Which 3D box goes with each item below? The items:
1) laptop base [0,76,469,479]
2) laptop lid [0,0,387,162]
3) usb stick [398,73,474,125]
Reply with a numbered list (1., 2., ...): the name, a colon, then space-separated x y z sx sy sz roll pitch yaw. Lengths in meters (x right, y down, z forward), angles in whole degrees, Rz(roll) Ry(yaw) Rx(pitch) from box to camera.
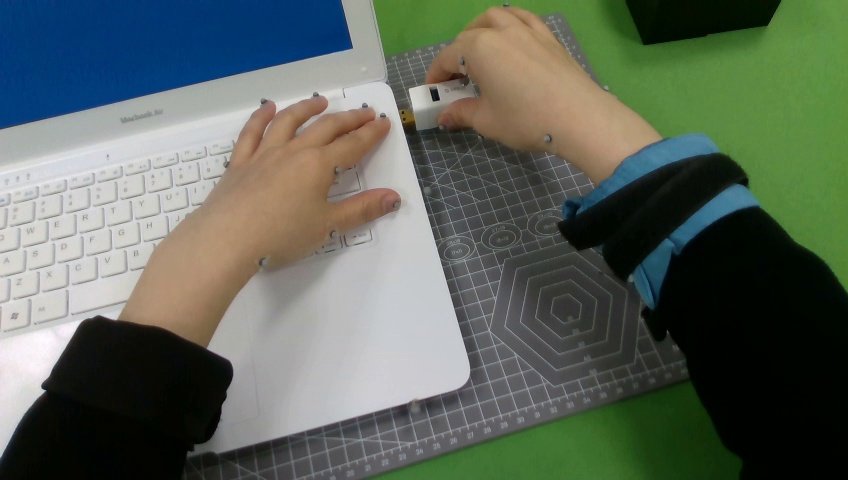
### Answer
1. laptop base: -0.169 0.023 0.393 0.354 0.023 0.233 -14 67 -3
2. laptop lid: -0.215 -0.169 0.370 0.357 0.244 0.013 -15 38 -2
3. usb stick: 0.005 -0.098 0.427 0.059 0.027 0.021 -12 64 1
